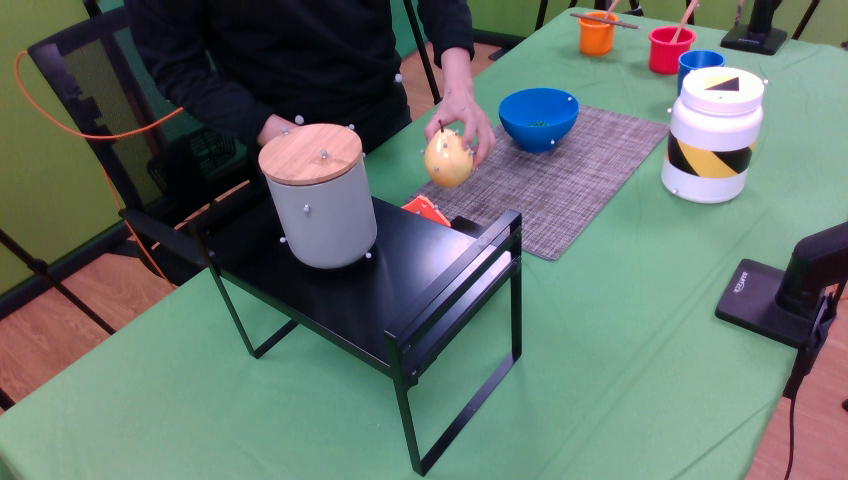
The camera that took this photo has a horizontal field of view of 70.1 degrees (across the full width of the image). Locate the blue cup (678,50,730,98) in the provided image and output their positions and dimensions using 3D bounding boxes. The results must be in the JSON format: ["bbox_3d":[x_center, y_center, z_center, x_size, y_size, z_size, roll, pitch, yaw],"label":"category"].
[{"bbox_3d":[0.542,-0.310,1.194,0.092,0.101,0.092,-6,41,6],"label":"blue cup"}]

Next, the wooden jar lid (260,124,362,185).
[{"bbox_3d":[-0.119,-0.088,0.644,0.108,0.021,0.108,-4,40,3],"label":"wooden jar lid"}]

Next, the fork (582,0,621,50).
[{"bbox_3d":[0.446,-0.539,1.438,0.207,0.019,0.028,-57,35,12],"label":"fork"}]

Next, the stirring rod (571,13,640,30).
[{"bbox_3d":[0.418,-0.508,1.404,0.174,0.006,0.014,28,54,35],"label":"stirring rod"}]

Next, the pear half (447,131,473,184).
[{"bbox_3d":[0.060,-0.134,0.958,0.031,0.088,0.070,-10,33,10],"label":"pear half"}]

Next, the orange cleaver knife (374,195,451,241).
[{"bbox_3d":[-0.037,-0.029,0.973,0.210,0.077,0.012,-8,33,50],"label":"orange cleaver knife"}]

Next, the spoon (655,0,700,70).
[{"bbox_3d":[0.568,-0.463,1.337,0.041,0.022,0.193,30,97,38],"label":"spoon"}]

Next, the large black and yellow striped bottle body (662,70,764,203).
[{"bbox_3d":[0.464,-0.166,0.976,0.131,0.185,0.130,-5,41,5],"label":"large black and yellow striped bottle body"}]

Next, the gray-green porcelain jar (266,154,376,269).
[{"bbox_3d":[-0.112,-0.039,0.685,0.106,0.127,0.105,-4,40,4],"label":"gray-green porcelain jar"}]

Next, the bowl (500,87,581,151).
[{"bbox_3d":[0.220,-0.223,1.156,0.151,0.077,0.150,-4,40,4],"label":"bowl"}]

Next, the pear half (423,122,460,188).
[{"bbox_3d":[0.024,-0.137,0.960,0.056,0.110,0.076,-9,34,10],"label":"pear half"}]

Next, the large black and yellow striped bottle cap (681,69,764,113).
[{"bbox_3d":[0.453,-0.229,0.921,0.115,0.019,0.114,-4,39,4],"label":"large black and yellow striped bottle cap"}]
